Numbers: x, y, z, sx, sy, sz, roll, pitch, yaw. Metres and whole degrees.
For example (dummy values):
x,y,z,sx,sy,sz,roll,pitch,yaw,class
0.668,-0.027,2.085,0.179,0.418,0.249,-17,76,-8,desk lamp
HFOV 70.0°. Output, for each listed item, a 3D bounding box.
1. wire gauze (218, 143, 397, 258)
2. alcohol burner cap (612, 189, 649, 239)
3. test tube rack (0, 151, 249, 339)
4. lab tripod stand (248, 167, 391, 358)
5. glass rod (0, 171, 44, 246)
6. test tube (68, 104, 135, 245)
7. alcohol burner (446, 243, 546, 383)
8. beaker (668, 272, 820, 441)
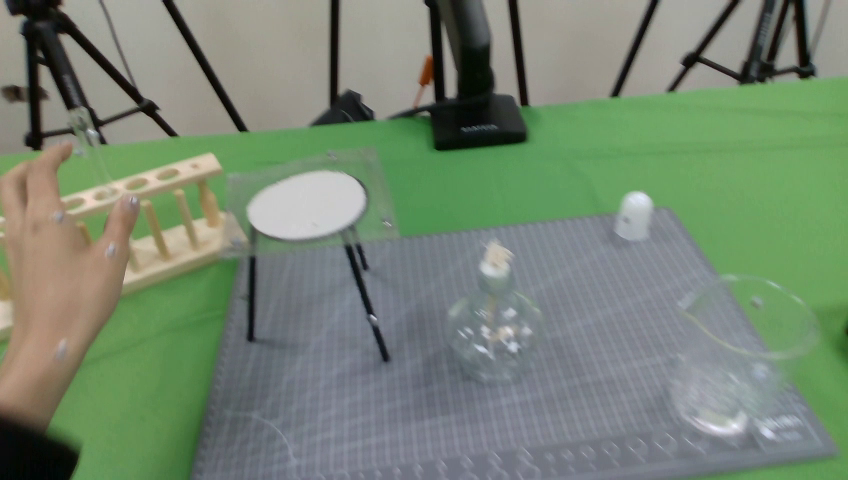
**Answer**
x,y,z,sx,sy,sz,roll,pitch,yaw,class
-0.090,-0.032,0.453,0.125,0.011,0.120,-11,40,-6,wire gauze
0.206,-0.028,0.600,0.034,0.048,0.033,-2,39,2,alcohol burner cap
-0.305,0.000,0.584,0.243,0.086,0.066,-22,43,-21,test tube rack
-0.086,0.020,0.496,0.148,0.133,0.147,-3,41,3,lab tripod stand
-0.361,-0.039,0.531,0.008,0.201,0.008,-4,42,4,glass rod
-0.302,-0.055,0.572,0.017,0.151,0.017,-1,36,1,test tube
0.054,0.052,0.460,0.078,0.120,0.077,-3,38,3,alcohol burner
0.211,0.083,0.418,0.083,0.101,0.073,7,41,15,beaker
